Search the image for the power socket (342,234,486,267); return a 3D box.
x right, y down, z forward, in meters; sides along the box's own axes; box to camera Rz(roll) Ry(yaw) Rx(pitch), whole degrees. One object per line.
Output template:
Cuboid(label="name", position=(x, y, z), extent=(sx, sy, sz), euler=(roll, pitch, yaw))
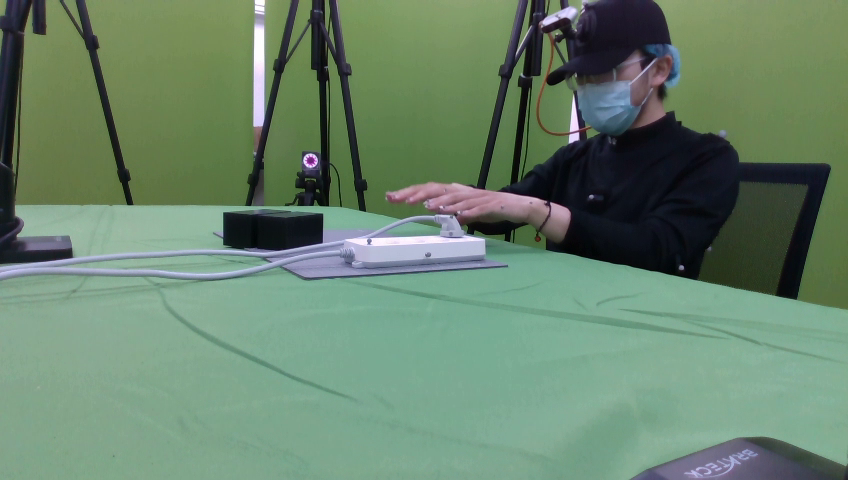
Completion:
Cuboid(label="power socket", position=(-0.009, 0.012, 0.846), extent=(0.228, 0.032, 0.072), euler=(-3, 8, -35))

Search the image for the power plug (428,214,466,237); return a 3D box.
Cuboid(label="power plug", position=(0.036, -0.013, 0.911), extent=(0.035, 0.052, 0.072), euler=(-2, 4, -23))
